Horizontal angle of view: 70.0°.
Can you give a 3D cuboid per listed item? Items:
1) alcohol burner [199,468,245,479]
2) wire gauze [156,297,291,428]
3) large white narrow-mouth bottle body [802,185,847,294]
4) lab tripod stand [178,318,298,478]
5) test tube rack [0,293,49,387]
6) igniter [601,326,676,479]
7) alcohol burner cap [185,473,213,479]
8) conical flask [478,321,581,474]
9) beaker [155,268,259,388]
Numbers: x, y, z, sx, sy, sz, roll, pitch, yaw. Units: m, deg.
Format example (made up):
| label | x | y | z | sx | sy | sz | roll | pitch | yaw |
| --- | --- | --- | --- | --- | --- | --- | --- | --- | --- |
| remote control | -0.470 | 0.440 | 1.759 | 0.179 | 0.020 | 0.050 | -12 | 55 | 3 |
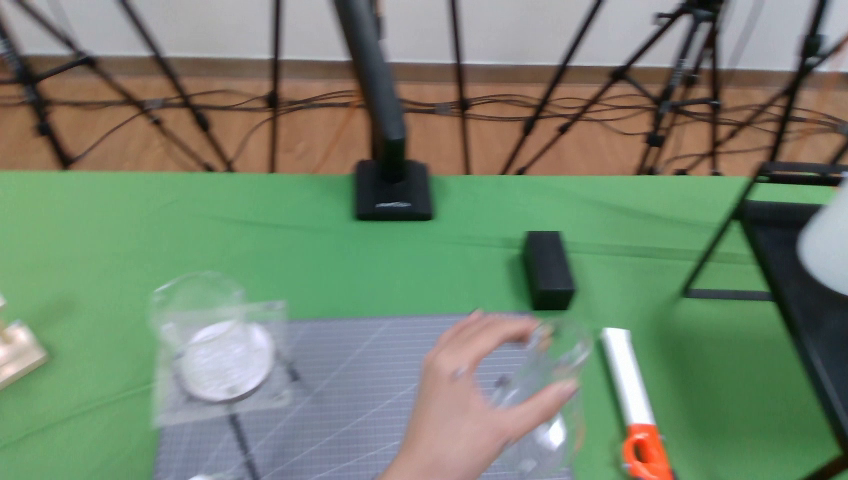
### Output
| label | x | y | z | sx | sy | sz | roll | pitch | yaw |
| --- | --- | --- | --- | --- | --- | --- | --- | --- | --- |
| alcohol burner | -0.202 | 0.248 | 0.570 | 0.078 | 0.120 | 0.077 | 4 | 49 | -4 |
| wire gauze | -0.192 | 0.112 | 0.586 | 0.122 | 0.011 | 0.124 | -6 | 55 | -9 |
| large white narrow-mouth bottle body | 0.465 | -0.035 | 0.588 | 0.102 | 0.196 | 0.101 | 3 | 50 | -3 |
| lab tripod stand | -0.194 | 0.157 | 0.633 | 0.148 | 0.132 | 0.147 | 4 | 51 | -5 |
| test tube rack | -0.545 | 0.155 | 0.634 | 0.066 | 0.086 | 0.242 | 39 | 57 | 24 |
| igniter | 0.248 | 0.221 | 0.698 | 0.057 | 0.025 | 0.273 | 8 | 49 | -12 |
| alcohol burner cap | -0.199 | 0.226 | 0.541 | 0.034 | 0.048 | 0.033 | 1 | 54 | 0 |
| conical flask | 0.079 | 0.106 | 0.424 | 0.075 | 0.123 | 0.074 | 1 | 47 | -1 |
| beaker | -0.192 | 0.083 | 0.546 | 0.084 | 0.101 | 0.073 | 19 | 52 | 10 |
